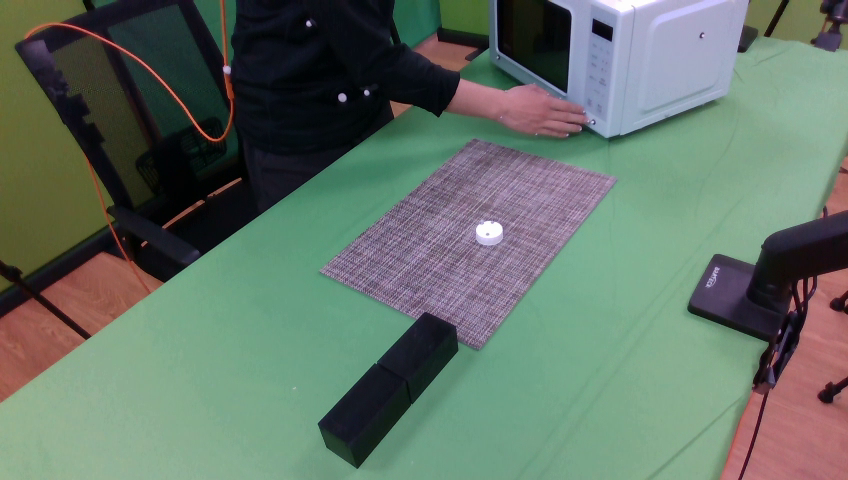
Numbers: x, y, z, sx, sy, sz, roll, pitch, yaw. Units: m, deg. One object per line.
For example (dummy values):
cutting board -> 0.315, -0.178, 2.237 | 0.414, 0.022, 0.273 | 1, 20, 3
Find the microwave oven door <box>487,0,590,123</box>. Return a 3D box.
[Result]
microwave oven door -> 0.231, -0.420, 1.231 | 0.039, 0.245, 0.352 | -22, 43, -16

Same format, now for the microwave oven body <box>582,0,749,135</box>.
microwave oven body -> 0.382, -0.444, 1.246 | 0.327, 0.261, 0.437 | -22, 42, -16

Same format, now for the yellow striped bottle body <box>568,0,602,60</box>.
yellow striped bottle body -> 0.338, -0.447, 1.269 | 0.063, 0.121, 0.062 | -3, 43, 4

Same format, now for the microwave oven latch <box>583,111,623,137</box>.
microwave oven latch -> 0.336, -0.222, 1.142 | 0.030, 0.029, 0.078 | -22, 42, -15

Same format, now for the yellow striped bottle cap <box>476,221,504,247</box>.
yellow striped bottle cap -> 0.105, -0.010, 0.966 | 0.044, 0.019, 0.044 | -4, 39, 4
